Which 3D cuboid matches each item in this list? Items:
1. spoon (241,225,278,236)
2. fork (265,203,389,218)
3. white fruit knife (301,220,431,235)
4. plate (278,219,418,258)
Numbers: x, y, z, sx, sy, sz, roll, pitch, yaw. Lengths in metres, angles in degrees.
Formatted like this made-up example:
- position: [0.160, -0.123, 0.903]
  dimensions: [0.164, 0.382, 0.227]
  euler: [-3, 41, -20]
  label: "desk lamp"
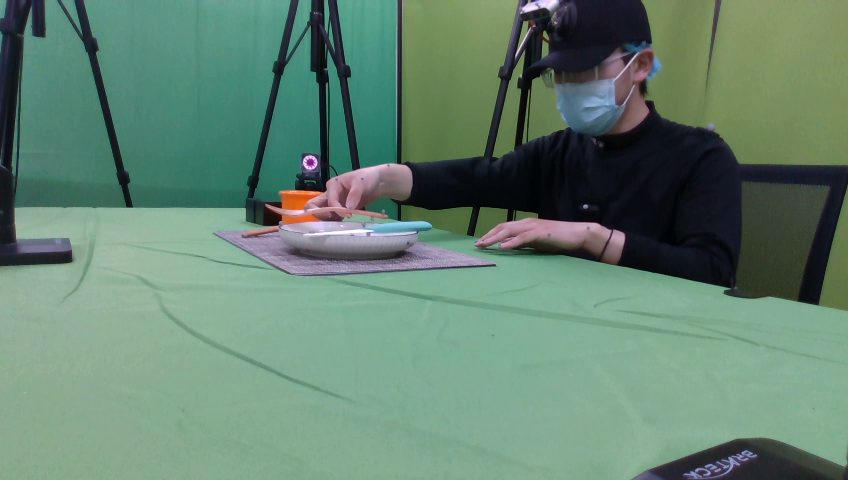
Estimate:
- position: [-0.232, -0.021, 1.082]
  dimensions: [0.195, 0.021, 0.041]
  euler: [-3, 27, -37]
  label: "spoon"
- position: [-0.150, -0.045, 0.963]
  dimensions: [0.208, 0.018, 0.028]
  euler: [0, 14, -30]
  label: "fork"
- position: [-0.079, -0.016, 0.858]
  dimensions: [0.208, 0.016, 0.027]
  euler: [-5, 12, -38]
  label: "white fruit knife"
- position: [-0.114, -0.003, 0.914]
  dimensions: [0.209, 0.038, 0.209]
  euler: [2, 8, 0]
  label: "plate"
